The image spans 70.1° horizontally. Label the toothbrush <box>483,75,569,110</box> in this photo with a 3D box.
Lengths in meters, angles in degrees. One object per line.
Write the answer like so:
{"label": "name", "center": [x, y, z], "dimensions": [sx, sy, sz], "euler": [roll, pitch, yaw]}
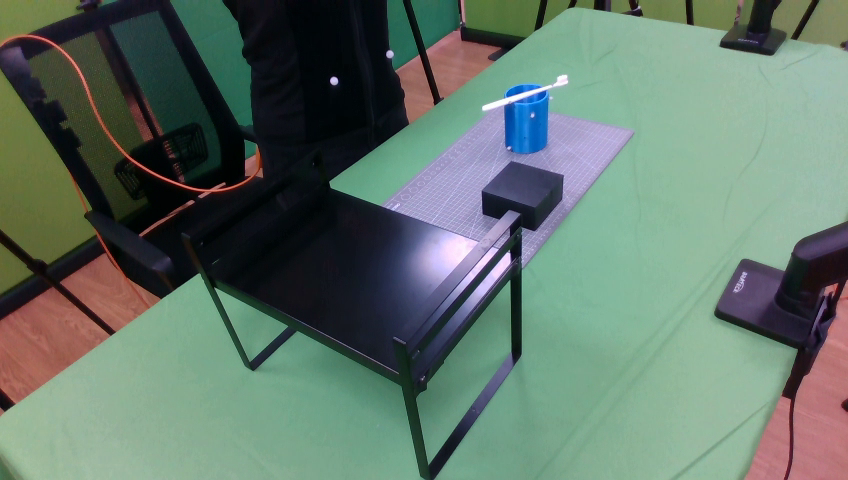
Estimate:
{"label": "toothbrush", "center": [0.188, -0.269, 1.103], "dimensions": [0.182, 0.017, 0.014], "euler": [-21, 47, -16]}

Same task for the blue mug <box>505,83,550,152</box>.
{"label": "blue mug", "center": [0.204, -0.242, 1.159], "dimensions": [0.082, 0.106, 0.116], "euler": [14, 45, 24]}
